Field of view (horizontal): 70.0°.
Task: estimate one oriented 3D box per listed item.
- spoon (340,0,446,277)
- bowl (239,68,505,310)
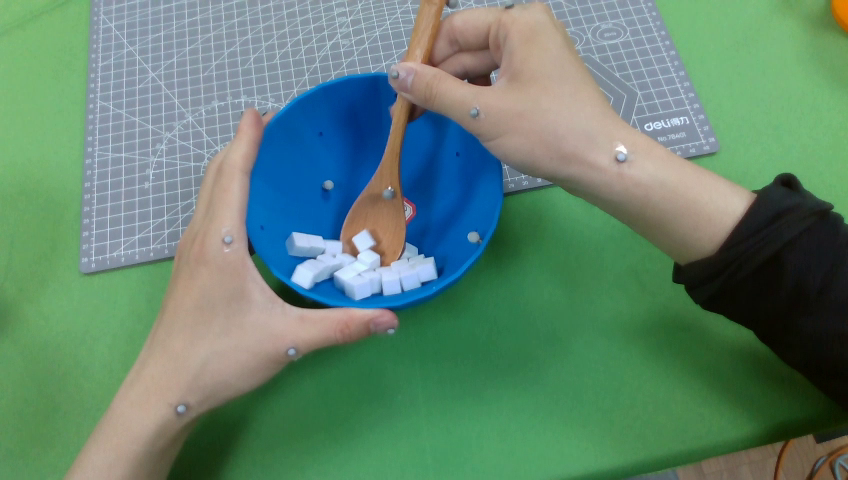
[{"bbox_3d":[-0.012,-0.067,0.343,0.041,0.021,0.194,23,114,14],"label":"spoon"},{"bbox_3d":[-0.028,-0.021,0.377,0.151,0.077,0.150,0,69,2],"label":"bowl"}]
